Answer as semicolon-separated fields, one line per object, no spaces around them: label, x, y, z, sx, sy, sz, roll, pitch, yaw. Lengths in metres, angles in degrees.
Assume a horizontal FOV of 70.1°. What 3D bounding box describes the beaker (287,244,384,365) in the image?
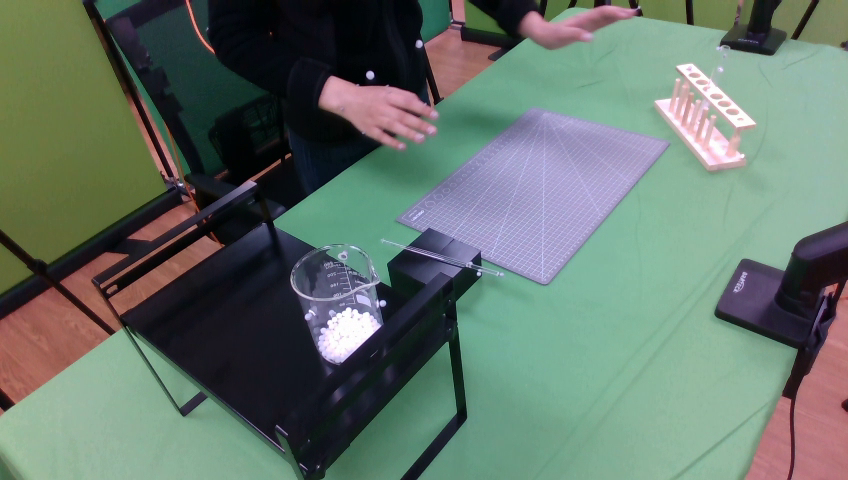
beaker;-0.076;0.064;0.575;0.083;0.101;0.074;6;43;15

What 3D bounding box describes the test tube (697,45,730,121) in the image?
test tube;0.523;-0.280;1.096;0.017;0.151;0.017;0;44;1

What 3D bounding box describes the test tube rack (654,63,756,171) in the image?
test tube rack;0.510;-0.233;1.120;0.067;0.085;0.241;-8;41;-1

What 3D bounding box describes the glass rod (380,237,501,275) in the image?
glass rod;0.020;0.023;0.881;0.198;0.008;0.008;16;46;25
